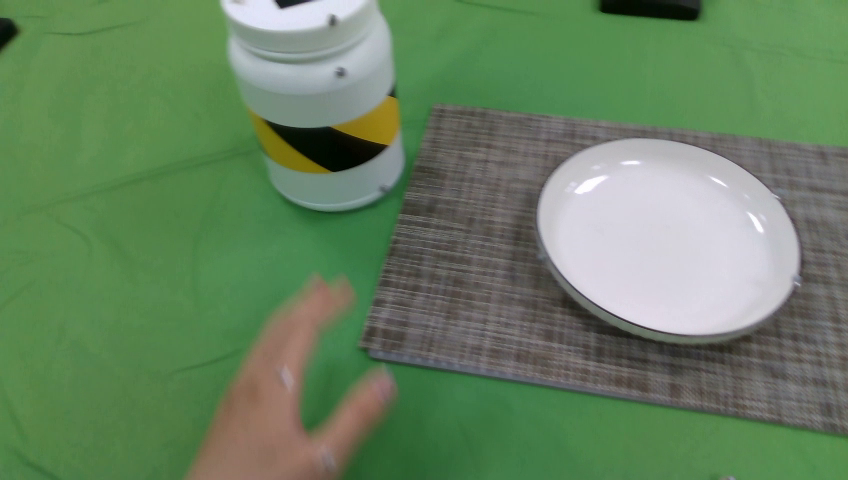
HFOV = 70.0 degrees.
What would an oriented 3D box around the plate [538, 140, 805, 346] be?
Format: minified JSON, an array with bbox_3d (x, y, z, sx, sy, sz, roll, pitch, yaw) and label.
[{"bbox_3d":[0.198,0.000,0.504,0.207,0.039,0.205,-1,52,1],"label":"plate"}]

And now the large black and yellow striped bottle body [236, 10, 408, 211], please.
[{"bbox_3d":[-0.084,-0.130,0.528,0.131,0.185,0.129,-1,52,2],"label":"large black and yellow striped bottle body"}]

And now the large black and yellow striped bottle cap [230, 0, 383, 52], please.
[{"bbox_3d":[-0.089,-0.183,0.462,0.115,0.019,0.114,0,51,1],"label":"large black and yellow striped bottle cap"}]
